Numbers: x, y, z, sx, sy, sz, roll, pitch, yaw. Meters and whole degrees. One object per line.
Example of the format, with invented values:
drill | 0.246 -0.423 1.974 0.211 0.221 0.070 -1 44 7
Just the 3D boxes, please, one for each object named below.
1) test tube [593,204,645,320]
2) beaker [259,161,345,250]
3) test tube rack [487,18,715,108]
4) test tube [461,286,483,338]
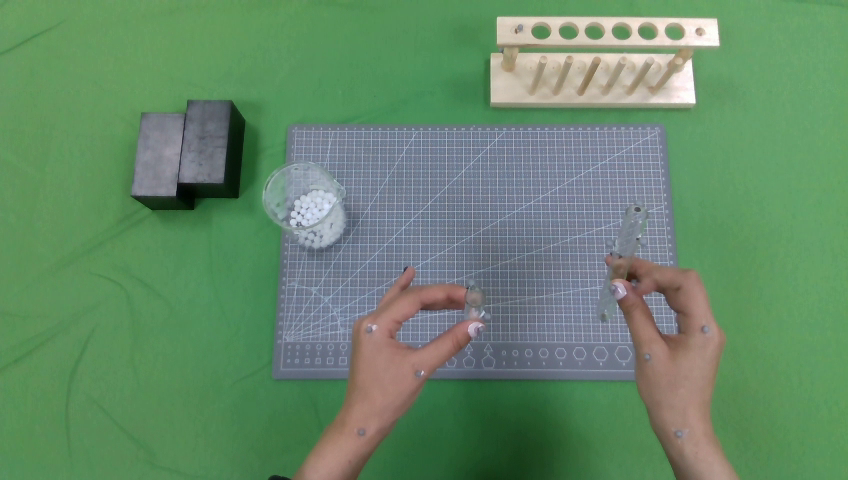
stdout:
test tube | 0.151 0.023 0.479 0.017 0.151 0.017 -3 55 4
beaker | -0.124 -0.033 0.653 0.084 0.100 0.073 -7 76 -2
test tube rack | 0.198 -0.203 0.702 0.242 0.085 0.066 1 76 1
test tube | 0.039 0.062 0.495 0.017 0.151 0.017 -1 72 4
